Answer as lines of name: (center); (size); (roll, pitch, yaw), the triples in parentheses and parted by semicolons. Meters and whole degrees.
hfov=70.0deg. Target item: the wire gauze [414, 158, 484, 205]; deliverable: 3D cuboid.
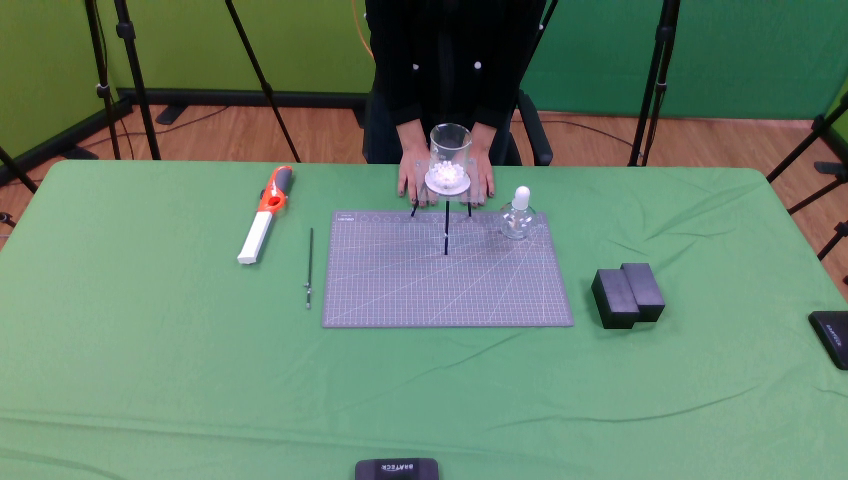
wire gauze: (0.045, -0.113, 1.137); (0.125, 0.011, 0.120); (2, 48, -6)

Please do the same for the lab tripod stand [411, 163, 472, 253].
lab tripod stand: (0.043, -0.070, 1.187); (0.148, 0.132, 0.147); (3, 47, -3)

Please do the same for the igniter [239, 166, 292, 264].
igniter: (-0.318, -0.060, 1.229); (0.057, 0.025, 0.275); (-2, 45, 10)

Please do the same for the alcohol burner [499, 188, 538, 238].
alcohol burner: (0.189, -0.060, 1.202); (0.078, 0.120, 0.077); (1, 48, -1)

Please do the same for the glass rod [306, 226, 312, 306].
glass rod: (-0.218, 0.045, 1.148); (0.008, 0.008, 0.198); (-3, 47, -6)

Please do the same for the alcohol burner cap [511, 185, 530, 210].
alcohol burner cap: (0.190, -0.086, 1.176); (0.034, 0.048, 0.033); (3, 51, -3)

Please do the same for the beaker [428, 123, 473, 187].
beaker: (0.044, -0.154, 1.109); (0.074, 0.101, 0.083); (-25, 54, -25)
